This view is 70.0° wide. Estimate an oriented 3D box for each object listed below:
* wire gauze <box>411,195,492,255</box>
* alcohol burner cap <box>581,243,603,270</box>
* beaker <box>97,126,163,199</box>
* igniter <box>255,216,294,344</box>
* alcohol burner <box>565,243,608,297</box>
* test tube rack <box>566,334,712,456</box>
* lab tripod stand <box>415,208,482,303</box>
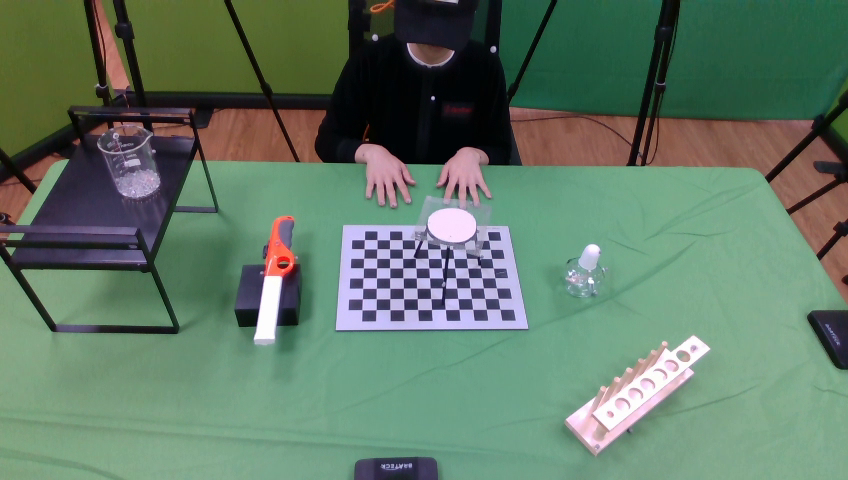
[{"bbox_3d":[0.049,-0.031,1.051,0.125,0.011,0.121,12,47,9],"label":"wire gauze"},{"bbox_3d":[0.302,0.026,1.082,0.034,0.048,0.033,4,45,-4],"label":"alcohol burner cap"},{"bbox_3d":[-0.468,-0.124,0.979,0.084,0.101,0.073,-25,53,-26],"label":"beaker"},{"bbox_3d":[-0.258,0.059,1.051,0.057,0.025,0.274,2,47,-6],"label":"igniter"},{"bbox_3d":[0.299,0.048,1.103,0.078,0.119,0.077,3,45,-3],"label":"alcohol burner"},{"bbox_3d":[0.338,0.228,0.951,0.242,0.085,0.066,-26,52,-26],"label":"test tube rack"},{"bbox_3d":[0.043,0.018,1.097,0.148,0.132,0.147,1,46,0],"label":"lab tripod stand"}]
